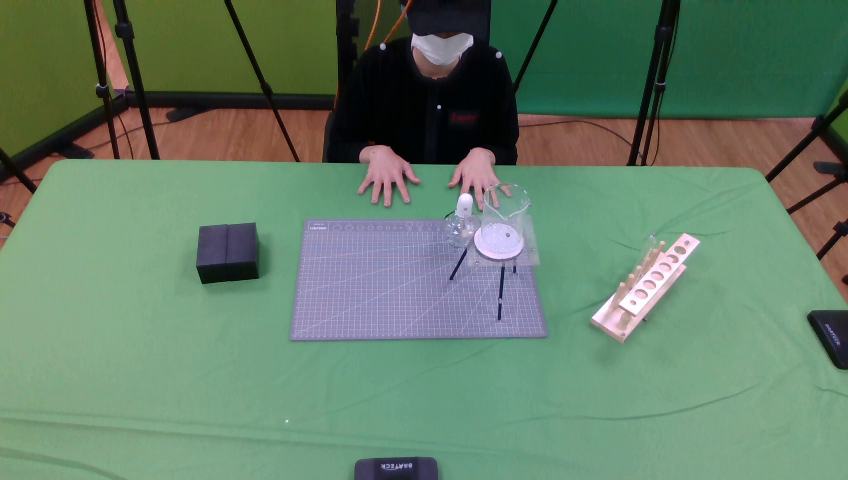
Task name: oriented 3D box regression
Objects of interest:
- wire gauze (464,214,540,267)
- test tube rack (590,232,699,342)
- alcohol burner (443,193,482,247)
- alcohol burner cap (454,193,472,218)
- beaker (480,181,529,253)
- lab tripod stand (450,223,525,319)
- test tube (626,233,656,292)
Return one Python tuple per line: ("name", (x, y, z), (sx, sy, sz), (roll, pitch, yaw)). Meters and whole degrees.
("wire gauze", (0.131, -0.001, 1.035), (0.121, 0.011, 0.124), (1, 44, -3))
("test tube rack", (0.407, 0.074, 1.112), (0.066, 0.085, 0.242), (35, 53, 26))
("alcohol burner", (0.075, -0.044, 1.177), (0.078, 0.120, 0.077), (1, 44, -1))
("alcohol burner cap", (0.076, -0.068, 1.151), (0.034, 0.048, 0.033), (3, 46, -3))
("beaker", (0.130, -0.033, 0.998), (0.074, 0.101, 0.083), (5, 47, 4))
("lab tripod stand", (0.120, 0.046, 1.080), (0.148, 0.132, 0.147), (1, 47, -1))
("test tube", (0.384, 0.042, 1.079), (0.017, 0.151, 0.017), (1, 47, -1))
